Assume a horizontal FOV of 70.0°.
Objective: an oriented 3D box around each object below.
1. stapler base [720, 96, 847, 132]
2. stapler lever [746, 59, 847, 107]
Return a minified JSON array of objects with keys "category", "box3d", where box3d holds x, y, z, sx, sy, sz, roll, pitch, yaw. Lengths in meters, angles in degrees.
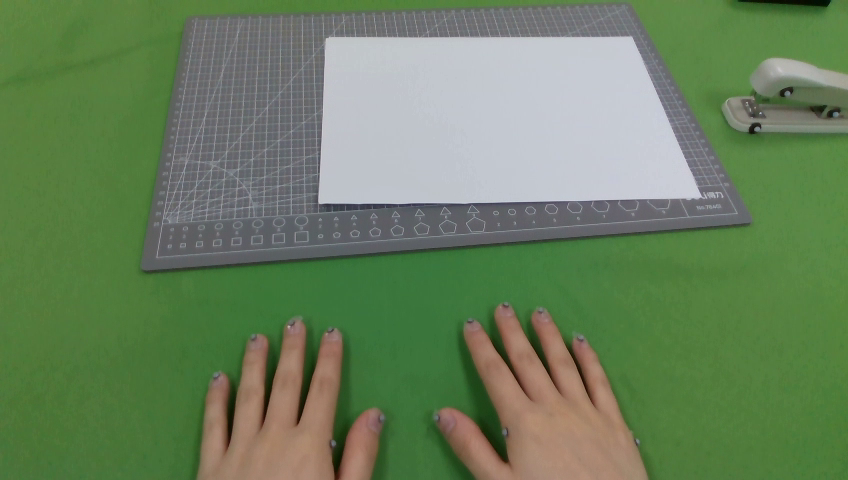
[{"category":"stapler base","box3d":[0.332,-0.118,0.537,0.131,0.024,0.041,0,56,-5]},{"category":"stapler lever","box3d":[0.335,-0.133,0.517,0.118,0.040,0.026,-1,56,-5]}]
